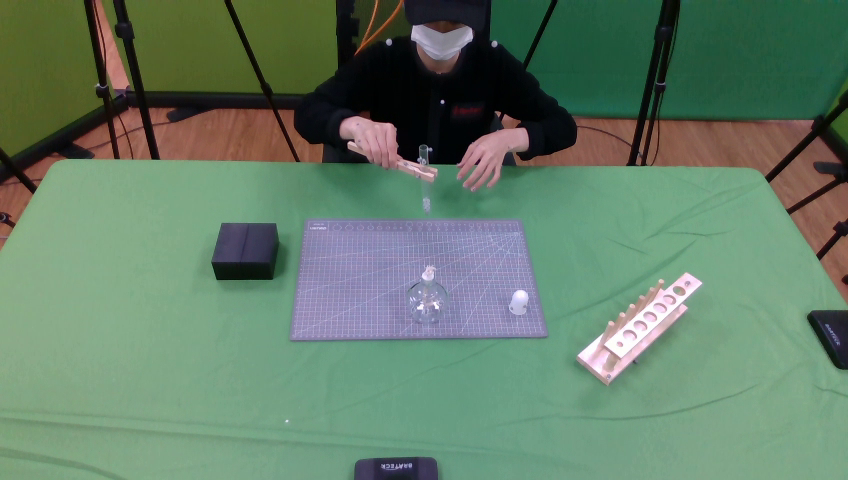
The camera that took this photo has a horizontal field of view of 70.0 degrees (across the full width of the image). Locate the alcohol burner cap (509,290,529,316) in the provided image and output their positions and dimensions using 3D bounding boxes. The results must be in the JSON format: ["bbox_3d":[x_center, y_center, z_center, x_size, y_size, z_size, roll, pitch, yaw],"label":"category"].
[{"bbox_3d":[0.171,0.110,1.086,0.034,0.048,0.033,2,45,-2],"label":"alcohol burner cap"}]

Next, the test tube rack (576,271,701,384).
[{"bbox_3d":[0.373,0.138,1.047,0.242,0.085,0.066,-31,56,-29],"label":"test tube rack"}]

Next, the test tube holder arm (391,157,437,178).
[{"bbox_3d":[-0.020,-0.129,1.069,0.087,0.015,0.010,16,46,12],"label":"test tube holder arm"}]

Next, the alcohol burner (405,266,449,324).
[{"bbox_3d":[0.005,0.089,1.043,0.078,0.120,0.077,1,45,-1],"label":"alcohol burner"}]

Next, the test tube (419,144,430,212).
[{"bbox_3d":[0.001,-0.106,1.074,0.017,0.151,0.017,-1,46,2],"label":"test tube"}]

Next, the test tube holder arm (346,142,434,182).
[{"bbox_3d":[-0.063,-0.140,1.077,0.178,0.015,0.013,21,47,16],"label":"test tube holder arm"}]
